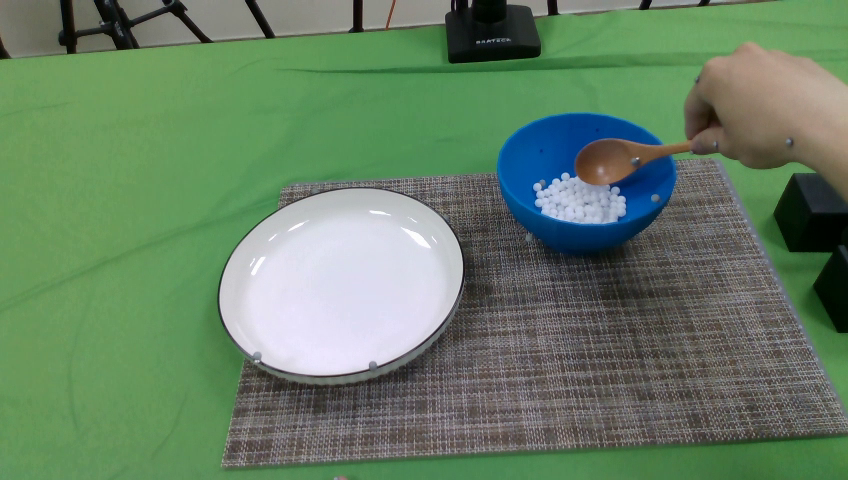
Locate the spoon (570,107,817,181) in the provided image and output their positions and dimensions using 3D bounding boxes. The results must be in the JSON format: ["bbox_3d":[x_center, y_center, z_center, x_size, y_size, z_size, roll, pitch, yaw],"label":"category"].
[{"bbox_3d":[0.205,-0.078,0.489,0.022,0.041,0.192,-17,8,-42],"label":"spoon"}]

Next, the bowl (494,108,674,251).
[{"bbox_3d":[0.138,-0.043,0.546,0.151,0.077,0.150,-2,48,3],"label":"bowl"}]

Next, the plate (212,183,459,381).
[{"bbox_3d":[-0.073,0.034,0.523,0.207,0.039,0.205,-2,48,3],"label":"plate"}]
